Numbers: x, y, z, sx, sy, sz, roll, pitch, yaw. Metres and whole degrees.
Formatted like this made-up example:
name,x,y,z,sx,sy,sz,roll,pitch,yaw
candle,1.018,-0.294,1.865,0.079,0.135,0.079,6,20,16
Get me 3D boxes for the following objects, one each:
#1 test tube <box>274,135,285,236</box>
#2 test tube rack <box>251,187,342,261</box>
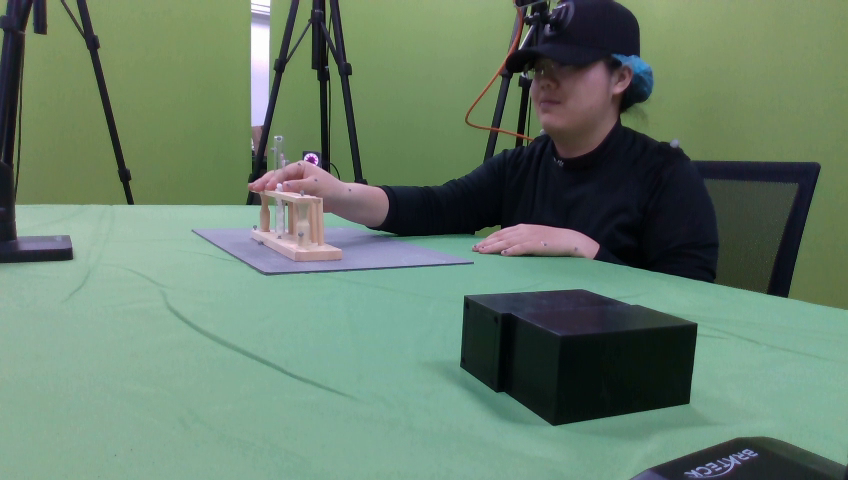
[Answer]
name,x,y,z,sx,sy,sz,roll,pitch,yaw
test tube,-0.216,-0.081,0.904,0.017,0.150,0.017,1,4,0
test tube rack,-0.196,-0.030,0.902,0.067,0.085,0.241,-2,8,-29
